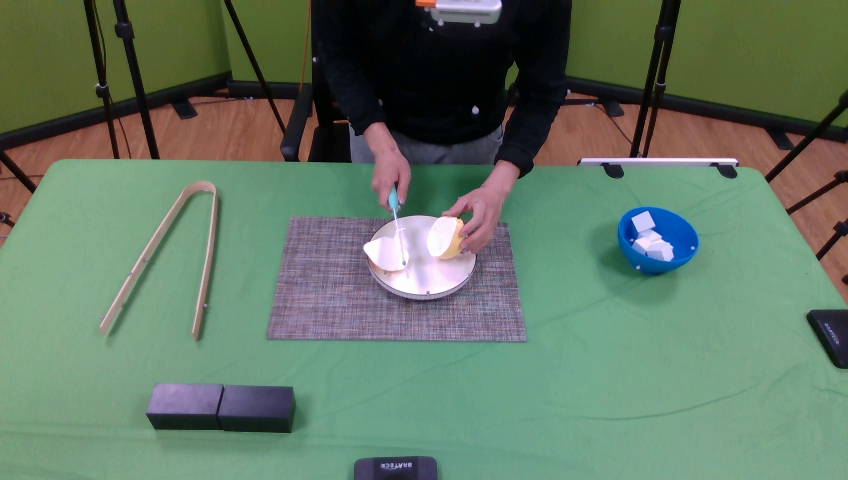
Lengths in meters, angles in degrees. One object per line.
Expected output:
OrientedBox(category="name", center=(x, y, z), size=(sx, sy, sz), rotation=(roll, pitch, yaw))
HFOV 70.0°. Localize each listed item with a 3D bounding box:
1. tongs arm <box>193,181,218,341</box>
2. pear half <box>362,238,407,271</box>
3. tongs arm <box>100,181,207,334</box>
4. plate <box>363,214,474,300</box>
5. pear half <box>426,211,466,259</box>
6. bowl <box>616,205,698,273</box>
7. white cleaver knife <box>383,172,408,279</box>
OrientedBox(category="tongs arm", center=(-0.413, 0.024, 1.140), size=(0.028, 0.028, 0.385), rotation=(-5, 47, -7))
OrientedBox(category="pear half", center=(-0.077, 0.032, 1.138), size=(0.088, 0.031, 0.070), rotation=(17, 46, -13))
OrientedBox(category="tongs arm", center=(-0.494, 0.018, 1.132), size=(0.051, 0.026, 0.382), rotation=(7, 45, -1))
OrientedBox(category="plate", center=(-0.010, 0.036, 1.146), size=(0.208, 0.039, 0.206), rotation=(2, 46, -2))
OrientedBox(category="pear half", center=(0.054, -0.015, 1.115), size=(0.056, 0.110, 0.076), rotation=(2, 52, -37))
OrientedBox(category="bowl", center=(0.443, 0.010, 1.182), size=(0.151, 0.077, 0.150), rotation=(2, 46, -2))
OrientedBox(category="white cleaver knife", center=(-0.055, -0.036, 1.153), size=(0.021, 0.066, 0.284), rotation=(-11, 40, 1))
